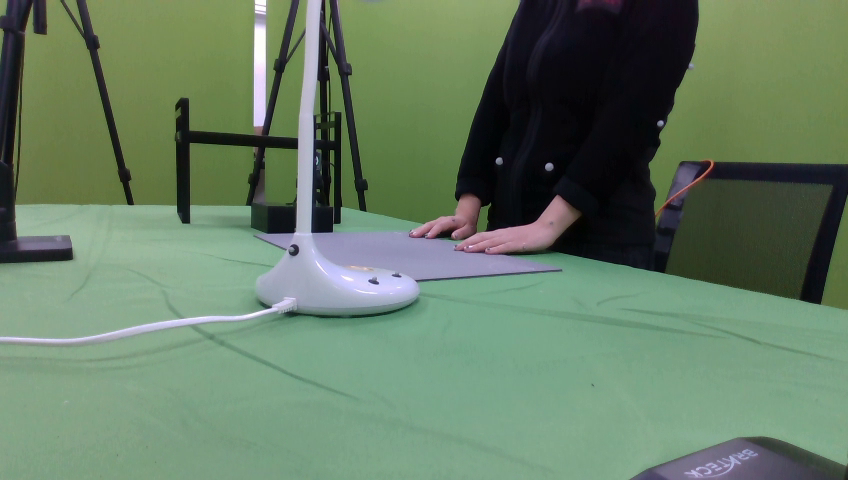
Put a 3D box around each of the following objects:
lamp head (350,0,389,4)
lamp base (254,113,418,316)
[{"bbox_3d":[-0.053,-0.313,0.597,0.112,0.112,0.123,6,-28,25],"label":"lamp head"},{"bbox_3d":[-0.086,-0.027,0.577,0.160,0.180,0.179,4,10,16],"label":"lamp base"}]
